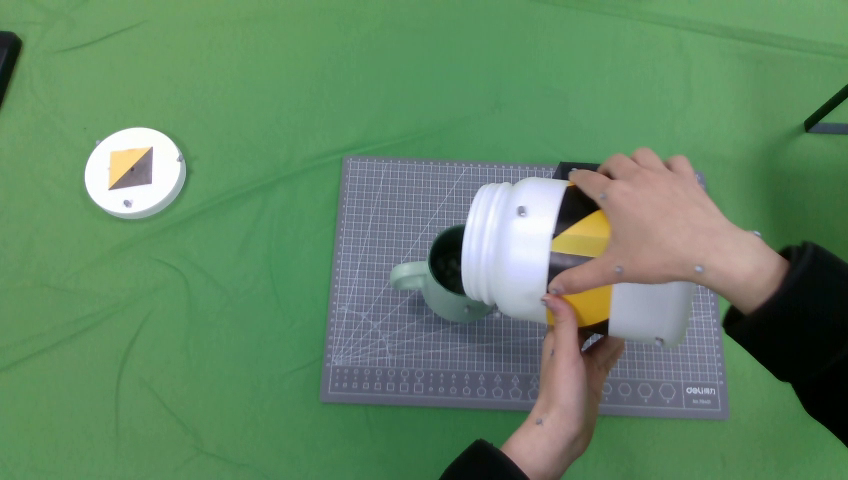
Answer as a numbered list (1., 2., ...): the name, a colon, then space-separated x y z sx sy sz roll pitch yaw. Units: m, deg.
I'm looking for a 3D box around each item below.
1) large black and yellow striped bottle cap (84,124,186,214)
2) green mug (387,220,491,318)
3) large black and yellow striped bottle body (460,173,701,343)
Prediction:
1. large black and yellow striped bottle cap: -0.349 -0.087 0.731 0.115 0.019 0.114 1 71 -1
2. green mug: 0.023 0.033 0.654 0.125 0.105 0.092 -4 72 -3
3. large black and yellow striped bottle body: 0.134 0.011 0.532 0.183 0.132 0.130 9 71 19
